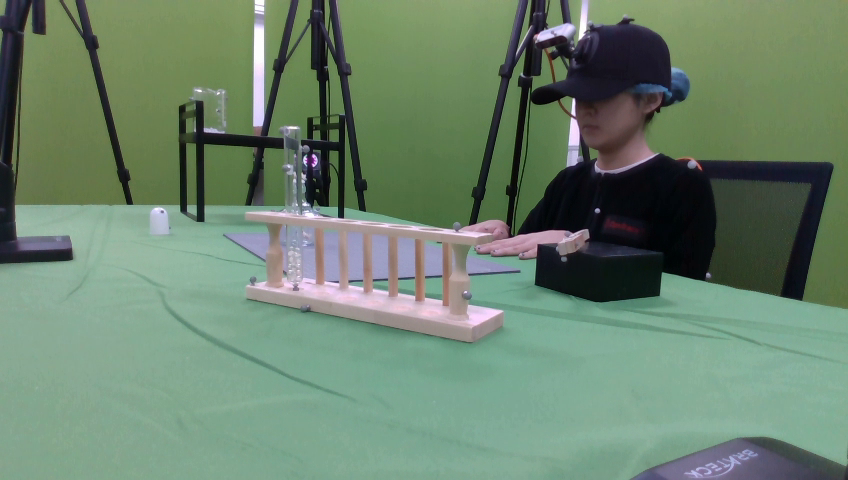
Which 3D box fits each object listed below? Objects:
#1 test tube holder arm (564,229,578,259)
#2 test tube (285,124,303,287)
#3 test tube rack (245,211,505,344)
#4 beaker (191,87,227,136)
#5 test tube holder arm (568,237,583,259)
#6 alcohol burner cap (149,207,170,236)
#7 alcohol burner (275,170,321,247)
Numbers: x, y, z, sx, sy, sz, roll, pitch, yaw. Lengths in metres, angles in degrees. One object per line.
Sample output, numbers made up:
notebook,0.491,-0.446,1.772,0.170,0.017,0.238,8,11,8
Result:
test tube holder arm,0.173,0.002,0.706,0.013,0.015,0.179,7,9,13
test tube,-0.120,-0.030,0.558,0.017,0.150,0.017,2,10,0
test tube rack,-0.049,0.025,0.547,0.241,0.085,0.067,7,8,29
beaker,-0.475,-0.284,1.345,0.074,0.100,0.083,-3,10,-37
test tube holder arm,0.166,0.008,0.661,0.010,0.015,0.088,8,9,18
alcohol burner cap,-0.445,-0.032,1.019,0.034,0.048,0.034,4,8,0
alcohol burner,-0.199,-0.049,0.948,0.078,0.119,0.078,1,7,0
